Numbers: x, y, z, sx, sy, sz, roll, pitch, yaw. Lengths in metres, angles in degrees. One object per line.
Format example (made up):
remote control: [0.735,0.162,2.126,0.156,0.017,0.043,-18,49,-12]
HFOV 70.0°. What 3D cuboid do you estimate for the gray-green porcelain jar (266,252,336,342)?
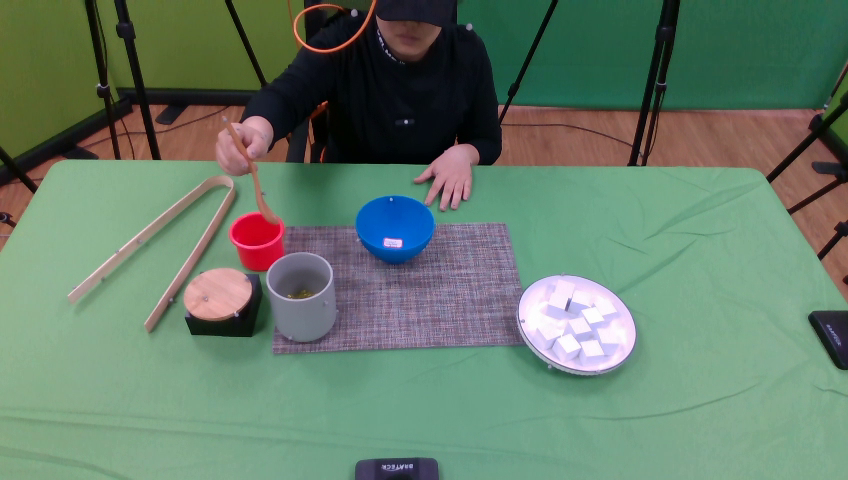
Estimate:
gray-green porcelain jar: [-0.202,0.100,1.009,0.106,0.127,0.105,2,46,-2]

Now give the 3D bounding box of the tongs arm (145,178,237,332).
tongs arm: [-0.432,0.014,1.149,0.028,0.028,0.385,8,46,7]

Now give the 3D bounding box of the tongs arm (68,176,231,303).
tongs arm: [-0.510,-0.010,1.162,0.050,0.026,0.383,20,47,14]

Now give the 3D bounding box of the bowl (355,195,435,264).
bowl: [-0.056,-0.008,1.158,0.151,0.077,0.150,2,46,-2]

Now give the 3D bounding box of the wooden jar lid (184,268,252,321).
wooden jar lid: [-0.343,0.092,1.015,0.108,0.021,0.107,3,46,-3]

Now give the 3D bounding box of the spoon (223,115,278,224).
spoon: [-0.268,-0.106,0.946,0.021,0.195,0.041,-15,32,-3]

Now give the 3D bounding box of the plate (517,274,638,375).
plate: [0.264,0.149,1.060,0.209,0.038,0.208,3,46,-3]
